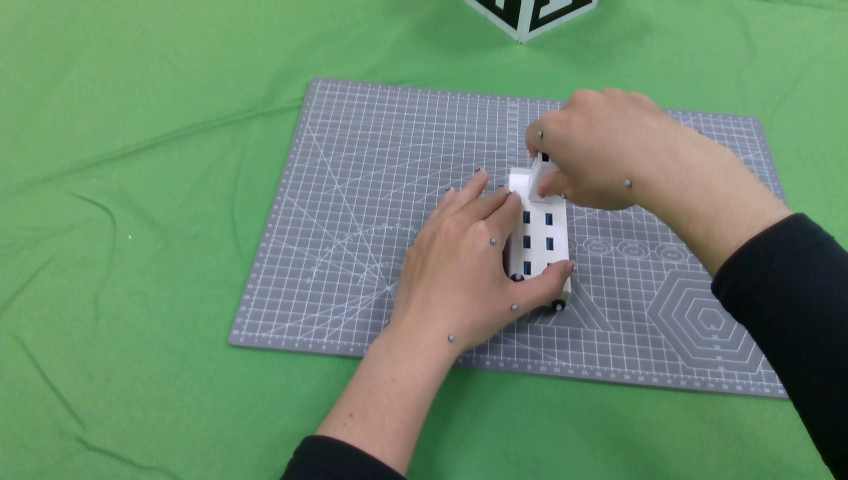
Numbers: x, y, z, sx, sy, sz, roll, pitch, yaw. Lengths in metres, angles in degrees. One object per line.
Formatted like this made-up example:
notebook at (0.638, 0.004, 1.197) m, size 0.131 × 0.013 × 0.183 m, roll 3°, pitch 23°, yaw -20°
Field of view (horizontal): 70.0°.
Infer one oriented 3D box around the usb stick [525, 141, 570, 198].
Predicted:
usb stick at (0.097, -0.052, 0.489) m, size 0.027 × 0.059 × 0.021 m, roll 5°, pitch 55°, yaw -1°

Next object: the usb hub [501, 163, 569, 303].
usb hub at (0.088, -0.009, 0.495) m, size 0.049 × 0.025 × 0.124 m, roll 4°, pitch 54°, yaw 2°
